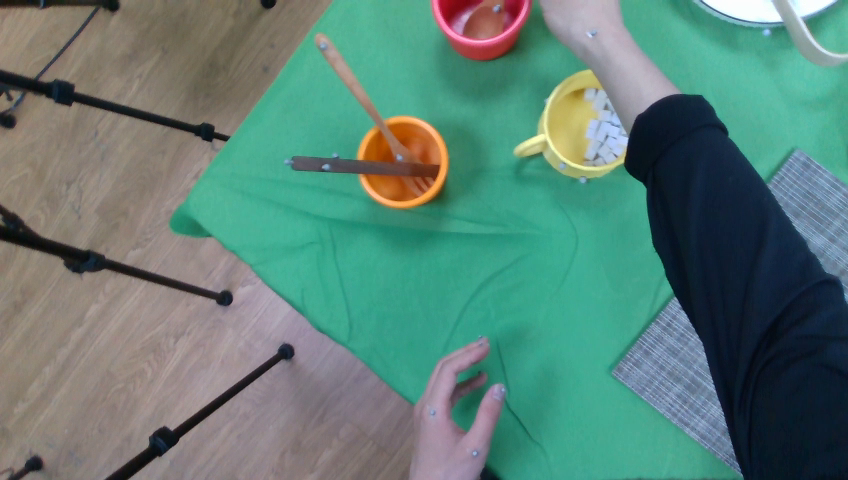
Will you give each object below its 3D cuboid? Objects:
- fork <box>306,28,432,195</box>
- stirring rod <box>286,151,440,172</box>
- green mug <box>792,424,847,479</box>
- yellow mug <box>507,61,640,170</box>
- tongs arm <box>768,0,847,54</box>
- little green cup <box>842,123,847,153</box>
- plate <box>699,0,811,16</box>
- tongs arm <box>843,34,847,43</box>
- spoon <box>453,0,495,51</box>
[{"bbox_3d":[-0.050,-0.120,0.597,0.028,0.018,0.209,-36,130,3],"label":"fork"},{"bbox_3d":[-0.055,-0.078,0.604,0.177,0.006,0.014,-2,91,-36],"label":"stirring rod"},{"bbox_3d":[0.429,0.220,0.571,0.125,0.105,0.092,-36,86,5],"label":"green mug"},{"bbox_3d":[0.148,-0.119,0.620,0.131,0.064,0.100,-19,89,7],"label":"yellow mug"},{"bbox_3d":[0.297,-0.349,0.585,0.051,0.026,0.384,-23,86,2],"label":"tongs arm"},{"bbox_3d":[0.453,-0.105,0.602,0.061,0.038,0.061,0,90,7],"label":"little green cup"},{"bbox_3d":[0.337,-0.328,0.613,0.207,0.039,0.207,0,91,6],"label":"plate"},{"bbox_3d":[0.376,-0.376,0.578,0.028,0.028,0.387,-9,87,0],"label":"tongs arm"},{"bbox_3d":[0.076,-0.269,0.585,0.041,0.021,0.194,33,138,3],"label":"spoon"}]
